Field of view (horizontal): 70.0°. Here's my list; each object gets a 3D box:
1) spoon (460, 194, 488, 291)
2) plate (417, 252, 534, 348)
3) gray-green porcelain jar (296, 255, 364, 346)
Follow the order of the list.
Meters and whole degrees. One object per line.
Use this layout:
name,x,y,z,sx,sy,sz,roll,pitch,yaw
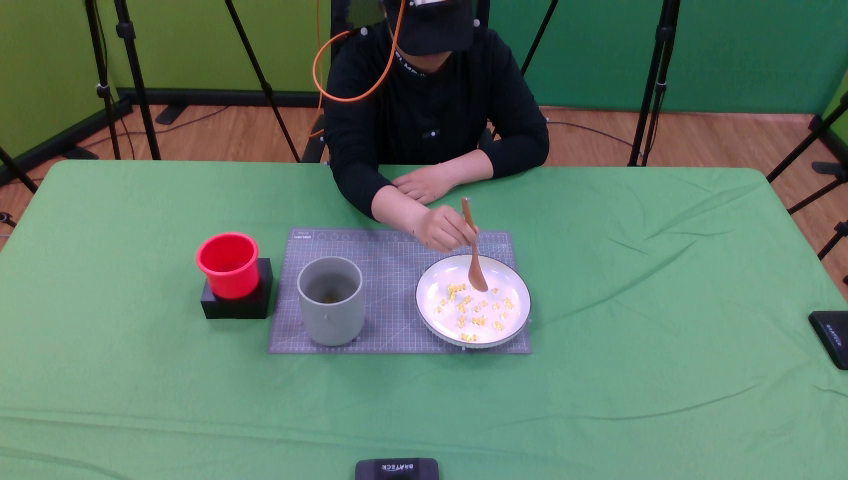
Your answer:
spoon,0.080,0.008,1.006,0.021,0.194,0.041,-33,35,-34
plate,0.090,0.109,1.084,0.208,0.039,0.206,2,46,-2
gray-green porcelain jar,-0.153,0.106,1.008,0.106,0.127,0.105,2,46,-2
